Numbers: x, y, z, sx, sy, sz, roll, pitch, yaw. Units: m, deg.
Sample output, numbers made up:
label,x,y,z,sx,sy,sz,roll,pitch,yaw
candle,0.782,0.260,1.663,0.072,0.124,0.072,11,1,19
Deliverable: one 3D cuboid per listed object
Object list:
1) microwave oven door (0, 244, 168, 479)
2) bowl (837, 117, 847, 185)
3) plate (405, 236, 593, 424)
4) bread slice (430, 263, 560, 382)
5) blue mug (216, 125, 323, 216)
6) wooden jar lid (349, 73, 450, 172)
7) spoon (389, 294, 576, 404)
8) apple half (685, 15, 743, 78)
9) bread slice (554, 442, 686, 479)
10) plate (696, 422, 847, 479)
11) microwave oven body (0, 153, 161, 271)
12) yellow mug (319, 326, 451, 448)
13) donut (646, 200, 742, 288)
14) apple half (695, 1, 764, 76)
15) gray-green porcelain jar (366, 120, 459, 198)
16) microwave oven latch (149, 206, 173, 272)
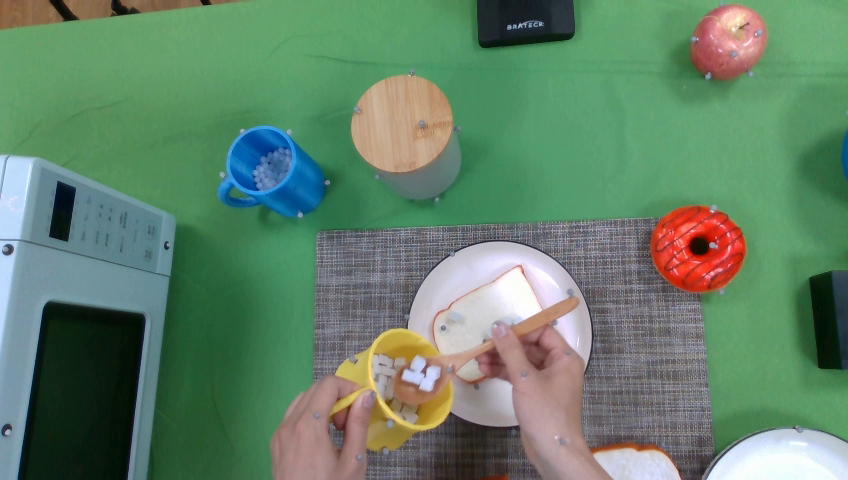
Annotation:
label,x,y,z,sx,sy,sz,roll,pitch,yaw
microwave oven door,-0.360,0.196,0.616,0.039,0.245,0.354,1,80,9
bowl,0.507,-0.089,0.641,0.151,0.077,0.151,-2,80,9
plate,0.084,0.100,0.687,0.207,0.039,0.207,-1,80,8
bread slice,0.074,0.101,0.689,0.131,0.019,0.104,-29,78,3
blue mug,-0.191,-0.073,0.727,0.116,0.106,0.082,-28,77,3
wooden jar lid,-0.025,-0.121,0.637,0.108,0.021,0.108,-2,78,9
spoon,0.055,0.100,0.566,0.194,0.022,0.041,-28,74,8
apple half,0.321,-0.211,0.691,0.033,0.081,0.081,-34,76,-4
bread slice,0.208,0.265,0.616,0.134,0.018,0.106,-6,75,-13
plate,0.376,0.289,0.614,0.209,0.038,0.208,-2,80,8
microwave oven body,-0.501,0.153,0.650,0.325,0.261,0.440,1,81,8
yellow mug,-0.042,0.143,0.571,0.064,0.131,0.099,-40,69,37
donut,0.297,0.005,0.669,0.099,0.048,0.098,-1,81,8
apple half,0.352,-0.234,0.692,0.053,0.075,0.080,-34,73,-4
gray-green porcelain jar,-0.016,-0.109,0.698,0.106,0.127,0.105,-1,79,8
microwave oven latch,-0.333,-0.001,0.752,0.030,0.029,0.079,3,81,9
